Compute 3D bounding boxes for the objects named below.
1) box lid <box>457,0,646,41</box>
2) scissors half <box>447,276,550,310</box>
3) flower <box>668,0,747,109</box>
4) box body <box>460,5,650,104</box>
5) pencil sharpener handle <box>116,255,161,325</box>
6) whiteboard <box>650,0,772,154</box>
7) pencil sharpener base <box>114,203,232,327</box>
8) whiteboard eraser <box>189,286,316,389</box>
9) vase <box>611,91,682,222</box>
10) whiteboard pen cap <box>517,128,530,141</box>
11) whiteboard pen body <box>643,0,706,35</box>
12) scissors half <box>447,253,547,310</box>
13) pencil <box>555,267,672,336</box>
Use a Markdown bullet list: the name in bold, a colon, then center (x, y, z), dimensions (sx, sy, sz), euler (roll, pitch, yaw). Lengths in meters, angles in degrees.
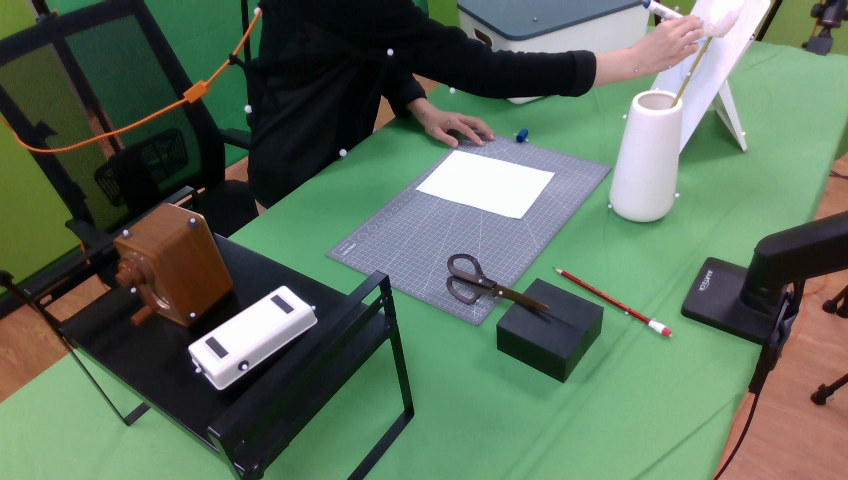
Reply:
- **box lid**: center (0.285, -0.522, 1.323), dimensions (0.373, 0.015, 0.261), euler (-22, 43, -16)
- **scissors half**: center (0.098, 0.077, 0.827), dimensions (0.174, 0.040, 0.013), euler (6, 14, 44)
- **flower**: center (0.355, -0.187, 0.879), dimensions (0.038, 0.362, 0.044), euler (31, 48, 15)
- **box body**: center (0.291, -0.465, 1.371), dimensions (0.365, 0.161, 0.252), euler (-22, 42, -16)
- **pencil sharpener handle**: center (-0.286, 0.050, 0.594), dimensions (0.035, 0.068, 0.031), euler (7, 41, 36)
- **whiteboard**: center (0.543, -0.298, 1.076), dimensions (0.144, 0.305, 0.216), euler (12, 40, -7)
- **pencil sharpener base**: center (-0.261, 0.029, 0.635), dimensions (0.061, 0.107, 0.077), euler (18, 47, 27)
- **whiteboard eraser**: center (-0.166, 0.096, 0.593), dimensions (0.113, 0.042, 0.055), euler (-36, 46, -29)
- **vase**: center (0.348, -0.125, 0.936), dimensions (0.098, 0.201, 0.097), euler (-3, 40, 3)
- **whiteboard pen cap**: center (0.195, -0.207, 1.192), dimensions (0.018, 0.018, 0.033), euler (14, 41, 23)
- **whiteboard pen body**: center (0.425, -0.367, 1.005), dimensions (0.141, 0.017, 0.017), euler (18, 38, -16)
- **scissors half**: center (0.098, 0.058, 0.821), dimensions (0.173, 0.040, 0.013), euler (27, 33, 36)
- **pencil**: center (0.261, 0.082, 0.851), dimensions (0.012, 0.012, 0.192), euler (-33, 45, -27)
